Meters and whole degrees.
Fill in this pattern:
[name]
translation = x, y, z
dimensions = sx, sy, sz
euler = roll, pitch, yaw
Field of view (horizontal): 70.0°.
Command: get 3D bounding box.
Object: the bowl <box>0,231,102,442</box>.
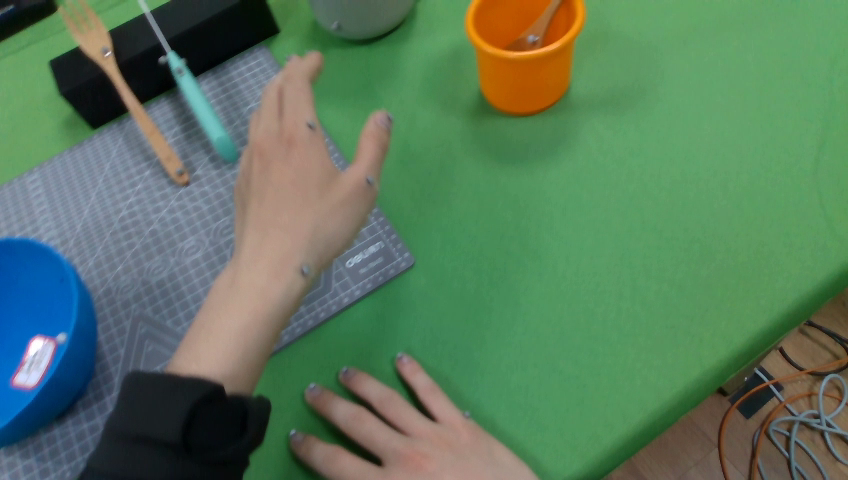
[bowl]
translation = -0.287, 0.077, 0.424
dimensions = 0.151, 0.077, 0.150
euler = -4, 61, 8

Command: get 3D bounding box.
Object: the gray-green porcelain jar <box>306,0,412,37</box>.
[gray-green porcelain jar]
translation = -0.067, -0.259, 0.546
dimensions = 0.106, 0.127, 0.105
euler = -4, 61, 8

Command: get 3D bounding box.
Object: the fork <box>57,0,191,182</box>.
[fork]
translation = -0.264, -0.135, 0.535
dimensions = 0.028, 0.019, 0.206
euler = -34, 80, -15

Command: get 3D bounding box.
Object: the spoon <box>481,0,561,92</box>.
[spoon]
translation = 0.109, -0.192, 0.468
dimensions = 0.022, 0.194, 0.041
euler = 2, 50, -42

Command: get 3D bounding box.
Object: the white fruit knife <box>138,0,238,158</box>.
[white fruit knife]
translation = -0.221, -0.158, 0.543
dimensions = 0.016, 0.027, 0.206
euler = -32, 75, -10
